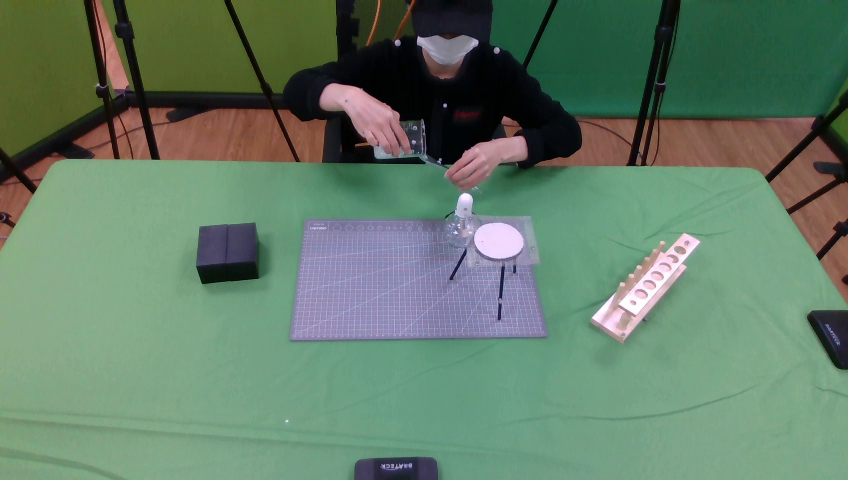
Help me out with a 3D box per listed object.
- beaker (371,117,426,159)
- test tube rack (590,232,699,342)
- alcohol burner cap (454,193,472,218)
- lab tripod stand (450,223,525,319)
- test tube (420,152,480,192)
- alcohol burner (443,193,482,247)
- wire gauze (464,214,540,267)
[{"bbox_3d":[-0.050,-0.192,1.168,0.100,0.084,0.073,-5,40,-4],"label":"beaker"},{"bbox_3d":[0.407,0.074,1.112,0.066,0.085,0.242,35,53,26],"label":"test tube rack"},{"bbox_3d":[0.076,-0.068,1.151,0.034,0.048,0.033,4,46,-4],"label":"alcohol burner cap"},{"bbox_3d":[0.120,0.046,1.080,0.148,0.132,0.147,1,47,-1],"label":"lab tripod stand"},{"bbox_3d":[0.054,-0.136,1.227,0.151,0.017,0.017,28,40,-26],"label":"test tube"},{"bbox_3d":[0.075,-0.044,1.177,0.078,0.120,0.077,1,44,-1],"label":"alcohol burner"},{"bbox_3d":[0.131,-0.002,1.034,0.121,0.011,0.124,1,45,-2],"label":"wire gauze"}]
